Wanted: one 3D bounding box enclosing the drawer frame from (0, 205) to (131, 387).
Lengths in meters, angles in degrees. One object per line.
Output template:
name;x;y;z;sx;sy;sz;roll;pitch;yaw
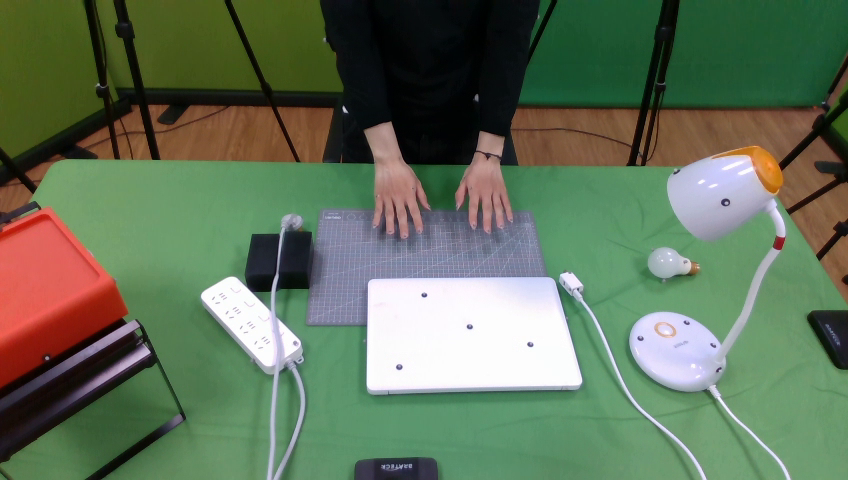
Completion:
drawer frame;-0.539;0.075;0.795;0.200;0.083;0.213;36;55;26

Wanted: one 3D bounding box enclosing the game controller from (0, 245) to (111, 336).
game controller;-0.510;0.062;0.830;0.097;0.052;0.154;-30;58;-30

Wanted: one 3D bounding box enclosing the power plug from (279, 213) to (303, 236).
power plug;-0.264;-0.021;1.184;0.035;0.053;0.072;0;48;32

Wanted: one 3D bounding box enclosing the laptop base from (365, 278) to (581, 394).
laptop base;0.077;0.162;1.053;0.355;0.023;0.234;0;44;-4

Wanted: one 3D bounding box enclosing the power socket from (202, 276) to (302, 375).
power socket;-0.296;0.142;1.034;0.072;0.033;0.225;-34;58;-30

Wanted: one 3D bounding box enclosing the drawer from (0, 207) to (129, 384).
drawer;-0.539;0.074;0.798;0.193;0.073;0.211;37;55;27

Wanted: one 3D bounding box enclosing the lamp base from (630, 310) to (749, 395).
lamp base;0.447;0.142;0.984;0.161;0.181;0.178;-24;55;-24

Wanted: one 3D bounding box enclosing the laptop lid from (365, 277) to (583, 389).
laptop lid;0.077;0.152;1.046;0.357;0.013;0.240;1;45;-3

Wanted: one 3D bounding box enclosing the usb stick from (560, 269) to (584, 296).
usb stick;0.275;0.077;1.142;0.027;0.021;0.059;-12;39;-12

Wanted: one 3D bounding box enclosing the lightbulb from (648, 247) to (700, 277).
lightbulb;0.485;0.046;1.170;0.108;0.060;0.059;10;45;-16

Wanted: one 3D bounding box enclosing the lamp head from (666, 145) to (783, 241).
lamp head;0.408;-0.067;0.806;0.113;0.123;0.112;15;63;-32
